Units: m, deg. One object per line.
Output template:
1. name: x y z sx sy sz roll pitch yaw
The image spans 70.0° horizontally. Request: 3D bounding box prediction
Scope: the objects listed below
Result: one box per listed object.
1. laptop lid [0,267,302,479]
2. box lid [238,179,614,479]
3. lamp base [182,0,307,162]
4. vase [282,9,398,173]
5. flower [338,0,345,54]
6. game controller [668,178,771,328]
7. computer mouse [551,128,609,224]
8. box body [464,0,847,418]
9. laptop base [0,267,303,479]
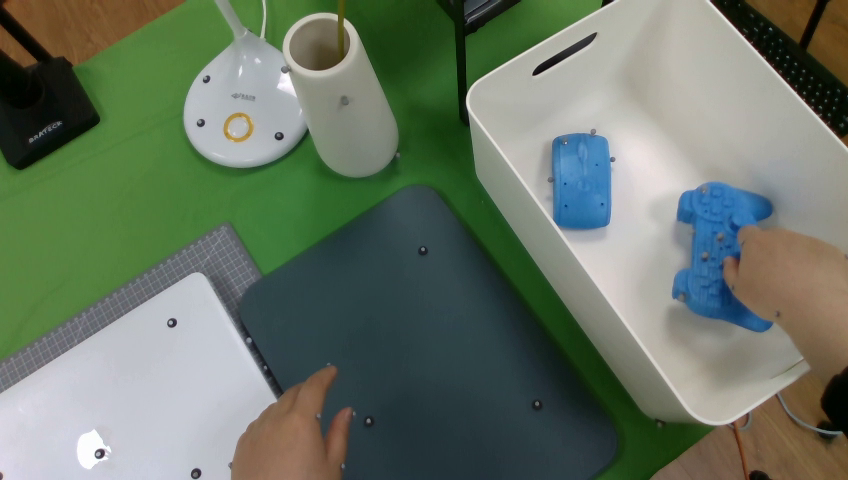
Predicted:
1. laptop lid: -0.328 0.212 0.619 0.357 0.013 0.240 -32 75 -6
2. box lid: -0.008 0.129 0.639 0.263 0.015 0.369 -34 73 -8
3. lamp base: -0.222 -0.205 0.673 0.160 0.181 0.178 -1 69 4
4. vase: -0.087 -0.149 0.636 0.098 0.201 0.097 -2 71 6
5. flower: -0.076 -0.186 0.560 0.038 0.364 0.043 -19 61 -19
6. game controller: 0.301 0.005 0.610 0.097 0.052 0.154 8 64 15
7. computer mouse: 0.172 -0.074 0.672 0.062 0.041 0.116 2 68 8
8. box body: 0.235 -0.037 0.597 0.254 0.161 0.361 -31 73 -6
9. laptop base: -0.329 0.214 0.630 0.354 0.023 0.234 -33 77 -7
